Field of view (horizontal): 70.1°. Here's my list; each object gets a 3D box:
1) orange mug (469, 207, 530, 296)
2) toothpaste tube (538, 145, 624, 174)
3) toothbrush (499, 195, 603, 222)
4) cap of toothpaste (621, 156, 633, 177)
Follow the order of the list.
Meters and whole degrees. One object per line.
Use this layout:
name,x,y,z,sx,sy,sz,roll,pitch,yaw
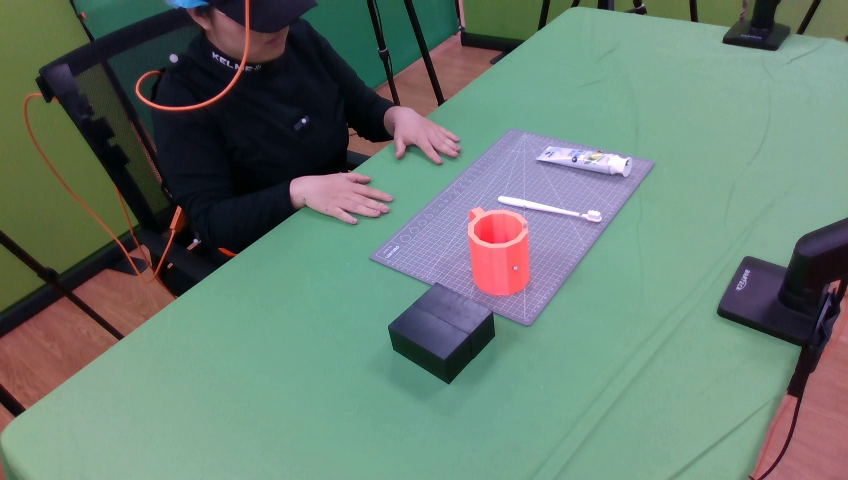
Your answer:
orange mug,0.104,0.008,0.894,0.084,0.101,0.125,-22,46,-14
toothpaste tube,0.292,-0.148,1.097,0.164,0.034,0.055,17,41,34
toothbrush,0.209,-0.055,1.011,0.180,0.017,0.014,14,62,27
cap of toothpaste,0.352,-0.128,1.051,0.011,0.037,0.037,18,48,35
